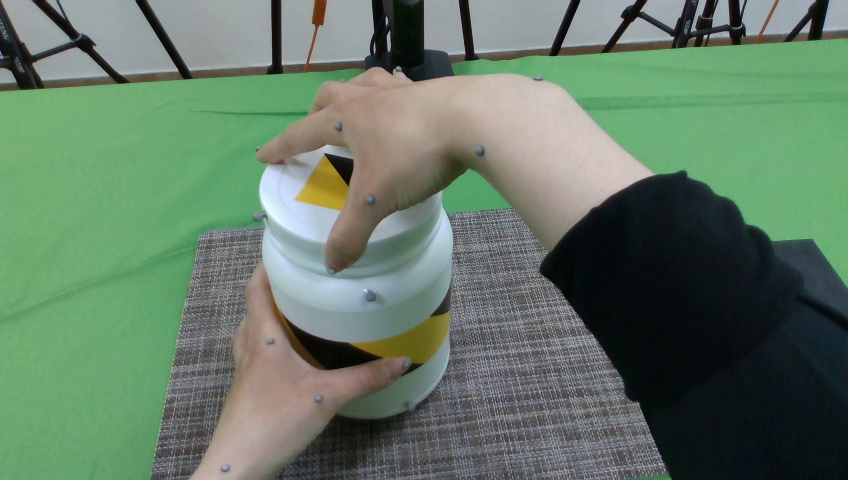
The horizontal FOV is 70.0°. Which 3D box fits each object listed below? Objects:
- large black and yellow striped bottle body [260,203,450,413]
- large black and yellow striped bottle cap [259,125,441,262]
[{"bbox_3d":[-0.046,0.029,0.449,0.131,0.185,0.129,0,45,0],"label":"large black and yellow striped bottle body"},{"bbox_3d":[-0.046,-0.033,0.386,0.115,0.019,0.114,1,46,-1],"label":"large black and yellow striped bottle cap"}]
